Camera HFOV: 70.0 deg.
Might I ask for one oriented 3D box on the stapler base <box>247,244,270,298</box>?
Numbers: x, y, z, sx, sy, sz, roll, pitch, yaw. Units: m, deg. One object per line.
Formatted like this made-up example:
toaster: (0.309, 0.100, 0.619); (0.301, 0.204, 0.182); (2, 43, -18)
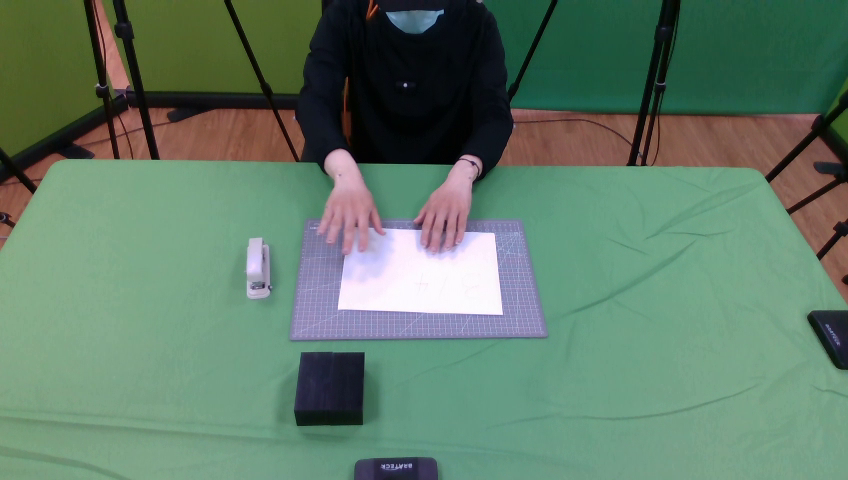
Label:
stapler base: (-0.308, 0.050, 1.123); (0.041, 0.024, 0.129); (-4, 45, -12)

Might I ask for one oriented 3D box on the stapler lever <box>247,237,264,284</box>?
stapler lever: (-0.307, 0.031, 1.106); (0.027, 0.040, 0.117); (-4, 45, -12)
